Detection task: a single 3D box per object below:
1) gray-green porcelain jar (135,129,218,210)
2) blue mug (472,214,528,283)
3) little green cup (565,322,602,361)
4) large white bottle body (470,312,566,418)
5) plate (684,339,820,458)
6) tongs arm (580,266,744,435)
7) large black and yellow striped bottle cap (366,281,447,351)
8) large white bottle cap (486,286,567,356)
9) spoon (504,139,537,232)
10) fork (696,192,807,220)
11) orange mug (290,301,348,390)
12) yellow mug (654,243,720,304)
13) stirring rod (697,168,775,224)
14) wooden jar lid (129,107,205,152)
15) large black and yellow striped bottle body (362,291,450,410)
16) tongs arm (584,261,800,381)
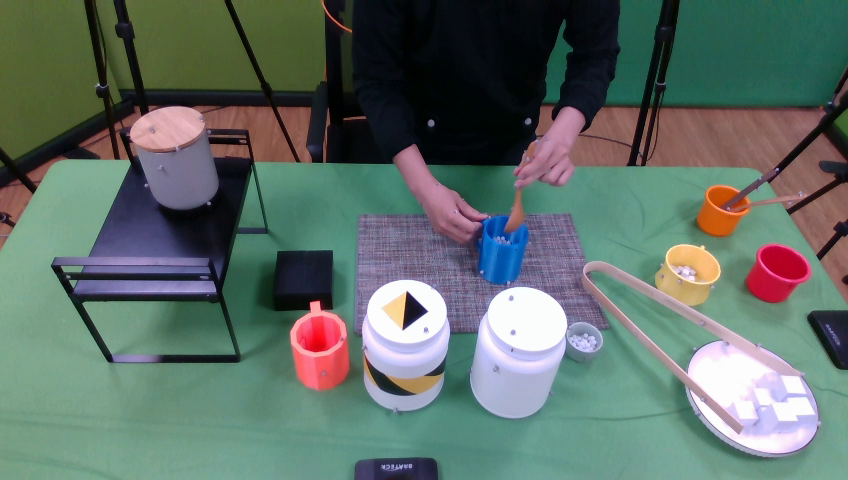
[{"bbox_3d":[-0.388,-0.120,0.960,0.106,0.127,0.105,2,46,-2],"label":"gray-green porcelain jar"},{"bbox_3d":[0.133,0.008,1.137,0.082,0.106,0.116,-33,56,-30],"label":"blue mug"},{"bbox_3d":[0.270,0.176,1.039,0.061,0.039,0.061,2,46,-2],"label":"little green cup"},{"bbox_3d":[0.143,0.173,0.930,0.131,0.185,0.130,2,46,-2],"label":"large white bottle body"},{"bbox_3d":[0.523,0.256,0.982,0.208,0.039,0.206,2,46,-2],"label":"plate"},{"bbox_3d":[0.384,0.173,1.028,0.028,0.028,0.385,-25,46,-15],"label":"tongs arm"},{"bbox_3d":[-0.025,0.106,0.866,0.115,0.019,0.114,2,46,-1],"label":"large black and yellow striped bottle cap"},{"bbox_3d":[0.147,0.114,0.869,0.115,0.018,0.114,3,46,-3],"label":"large white bottle cap"},{"bbox_3d":[0.164,-0.087,1.026,0.042,0.194,0.021,-19,45,-26],"label":"spoon"},{"bbox_3d":[0.655,-0.069,1.224,0.207,0.019,0.028,-17,33,45],"label":"fork"},{"bbox_3d":[-0.170,0.162,0.976,0.083,0.101,0.125,-7,52,-12],"label":"orange mug"},{"bbox_3d":[0.504,0.054,1.154,0.099,0.064,0.130,28,50,22],"label":"yellow mug"},{"bbox_3d":[0.644,-0.090,1.252,0.176,0.006,0.014,-40,53,16],"label":"stirring rod"},{"bbox_3d":[-0.385,-0.163,0.915,0.108,0.021,0.107,2,47,-2],"label":"wooden jar lid"},{"bbox_3d":[-0.029,0.163,0.928,0.131,0.185,0.130,2,47,-2],"label":"large black and yellow striped bottle body"},{"bbox_3d":[0.452,0.137,1.064,0.051,0.027,0.382,-34,50,-27],"label":"tongs arm"}]
